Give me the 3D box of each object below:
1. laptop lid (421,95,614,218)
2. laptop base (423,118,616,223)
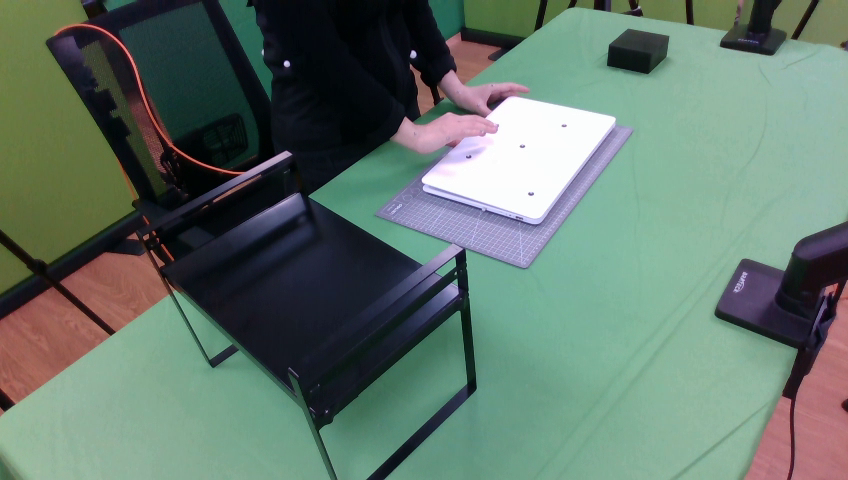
[{"bbox_3d":[0.183,-0.172,1.122,0.240,0.013,0.357,22,48,28],"label":"laptop lid"},{"bbox_3d":[0.187,-0.157,1.132,0.234,0.023,0.355,16,46,31],"label":"laptop base"}]
